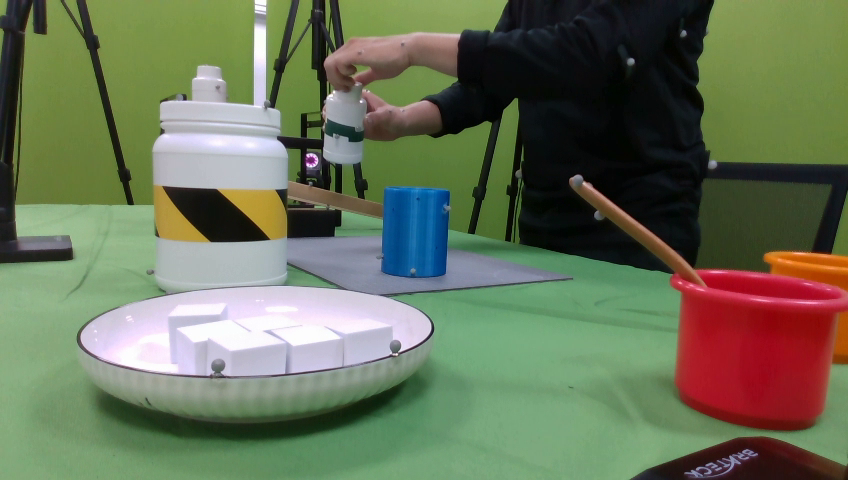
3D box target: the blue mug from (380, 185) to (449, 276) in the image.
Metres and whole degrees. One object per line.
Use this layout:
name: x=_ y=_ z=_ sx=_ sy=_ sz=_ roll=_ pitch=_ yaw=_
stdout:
blue mug: x=-0.018 y=-0.016 z=0.764 sx=0.083 sy=0.106 sz=0.116 roll=-1 pitch=8 yaw=-25

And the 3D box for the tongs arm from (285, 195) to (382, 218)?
tongs arm: x=-0.165 y=-0.074 z=1.216 sx=0.389 sy=0.027 sz=0.028 roll=11 pitch=-6 yaw=-24

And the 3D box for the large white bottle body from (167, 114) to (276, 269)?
large white bottle body: x=-0.256 y=-0.063 z=0.772 sx=0.131 sy=0.184 sz=0.130 roll=2 pitch=7 yaw=0

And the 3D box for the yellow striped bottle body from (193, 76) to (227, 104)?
yellow striped bottle body: x=-0.414 y=-0.268 z=1.169 sx=0.063 sy=0.120 sz=0.063 roll=2 pitch=7 yaw=0

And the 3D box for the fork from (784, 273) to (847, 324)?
fork: x=0.332 y=0.018 z=0.444 sx=0.028 sy=0.018 sz=0.207 roll=-1 pitch=-35 yaw=-15

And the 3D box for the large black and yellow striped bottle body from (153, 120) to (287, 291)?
large black and yellow striped bottle body: x=-0.208 y=-0.043 z=0.626 sx=0.131 sy=0.184 sz=0.130 roll=2 pitch=7 yaw=0

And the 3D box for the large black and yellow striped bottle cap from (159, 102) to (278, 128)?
large black and yellow striped bottle cap: x=-0.207 y=-0.125 z=0.615 sx=0.115 sy=0.019 sz=0.115 roll=2 pitch=6 yaw=0

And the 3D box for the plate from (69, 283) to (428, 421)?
plate: x=-0.102 y=0.066 z=0.381 sx=0.208 sy=0.039 sz=0.207 roll=2 pitch=7 yaw=0

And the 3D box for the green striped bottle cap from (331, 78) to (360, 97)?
green striped bottle cap: x=-0.120 y=-0.235 z=0.931 sx=0.044 sy=0.020 sz=0.044 roll=8 pitch=24 yaw=-3

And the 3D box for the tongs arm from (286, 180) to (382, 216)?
tongs arm: x=-0.122 y=-0.066 z=1.147 sx=0.387 sy=0.026 sz=0.050 roll=11 pitch=-3 yaw=-37

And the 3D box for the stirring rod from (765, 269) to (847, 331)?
stirring rod: x=0.352 y=0.020 z=0.484 sx=0.176 sy=0.006 sz=0.014 roll=-40 pitch=-7 yaw=13

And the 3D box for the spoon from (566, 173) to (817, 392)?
spoon: x=0.161 y=0.024 z=0.370 sx=0.193 sy=0.021 sz=0.042 roll=47 pitch=18 yaw=3

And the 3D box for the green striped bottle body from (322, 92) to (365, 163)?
green striped bottle body: x=-0.126 y=-0.186 z=0.953 sx=0.063 sy=0.119 sz=0.063 roll=6 pitch=22 yaw=-2

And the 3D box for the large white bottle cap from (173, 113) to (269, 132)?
large white bottle cap: x=-0.254 y=-0.146 z=0.760 sx=0.115 sy=0.018 sz=0.115 roll=1 pitch=7 yaw=0

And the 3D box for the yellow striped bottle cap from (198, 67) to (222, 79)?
yellow striped bottle cap: x=-0.411 y=-0.320 z=1.163 sx=0.044 sy=0.018 sz=0.044 roll=0 pitch=6 yaw=0
